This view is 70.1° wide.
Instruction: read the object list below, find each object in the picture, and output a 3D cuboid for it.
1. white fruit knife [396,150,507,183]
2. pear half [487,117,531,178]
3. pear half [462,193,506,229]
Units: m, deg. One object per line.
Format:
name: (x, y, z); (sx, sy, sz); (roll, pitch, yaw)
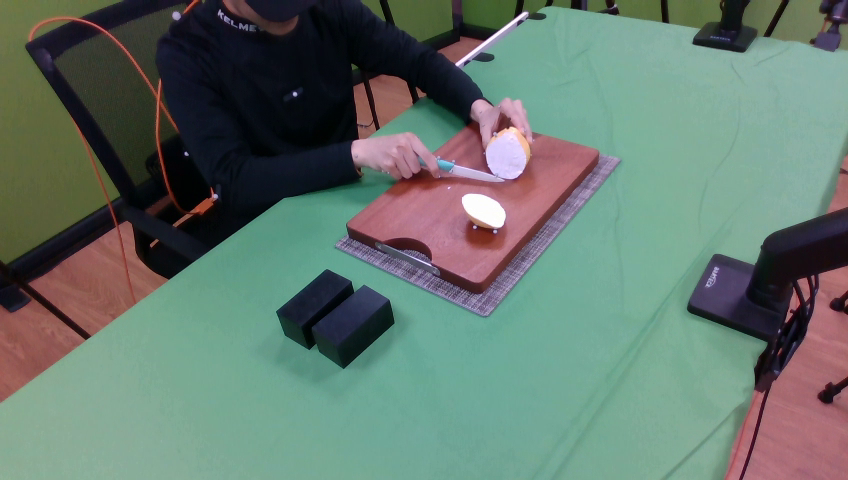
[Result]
white fruit knife: (0.046, -0.127, 1.055); (0.206, 0.027, 0.016); (15, 51, 15)
pear half: (0.148, -0.165, 1.028); (0.076, 0.110, 0.056); (12, 43, 13)
pear half: (0.094, -0.039, 0.948); (0.071, 0.031, 0.087); (-8, 48, -24)
